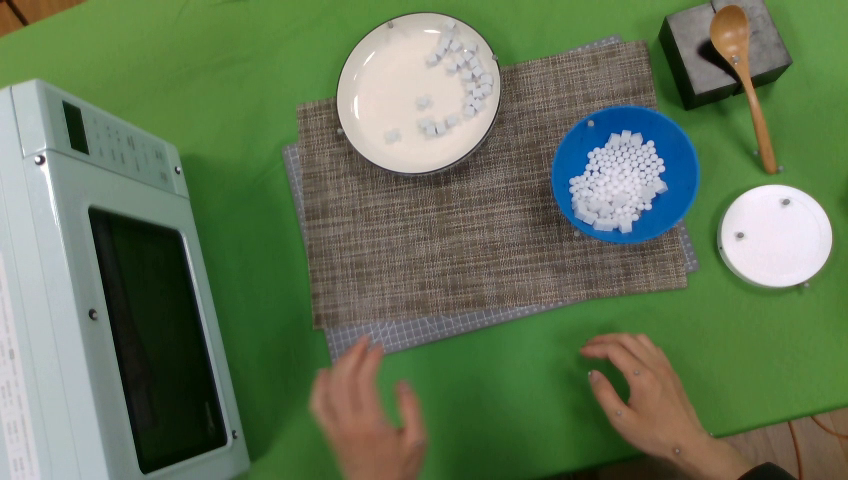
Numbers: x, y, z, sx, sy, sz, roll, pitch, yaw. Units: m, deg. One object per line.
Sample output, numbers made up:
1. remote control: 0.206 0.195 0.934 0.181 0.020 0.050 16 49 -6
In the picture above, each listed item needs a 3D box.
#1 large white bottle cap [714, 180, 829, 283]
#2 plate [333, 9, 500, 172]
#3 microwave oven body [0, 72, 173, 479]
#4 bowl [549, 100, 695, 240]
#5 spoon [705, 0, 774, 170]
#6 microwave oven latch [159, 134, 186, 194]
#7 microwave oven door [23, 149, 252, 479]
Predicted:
1. large white bottle cap: 0.385 -0.010 0.672 0.114 0.018 0.114 -1 83 9
2. plate: -0.009 -0.182 0.753 0.209 0.038 0.208 -2 82 11
3. microwave oven body: -0.445 0.104 0.687 0.326 0.261 0.440 -18 81 7
4. bowl: 0.215 -0.070 0.676 0.151 0.077 0.151 -1 83 11
5. spoon: 0.350 -0.164 0.660 0.041 0.021 0.194 -23 102 5
6. microwave oven latch: -0.337 -0.096 0.790 0.030 0.029 0.079 -18 81 8
7. microwave oven door: -0.296 0.098 0.655 0.039 0.245 0.354 -19 80 8
